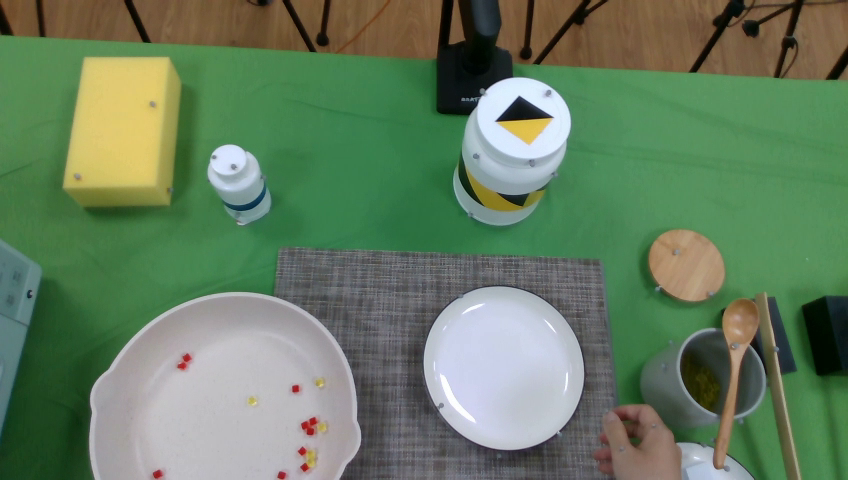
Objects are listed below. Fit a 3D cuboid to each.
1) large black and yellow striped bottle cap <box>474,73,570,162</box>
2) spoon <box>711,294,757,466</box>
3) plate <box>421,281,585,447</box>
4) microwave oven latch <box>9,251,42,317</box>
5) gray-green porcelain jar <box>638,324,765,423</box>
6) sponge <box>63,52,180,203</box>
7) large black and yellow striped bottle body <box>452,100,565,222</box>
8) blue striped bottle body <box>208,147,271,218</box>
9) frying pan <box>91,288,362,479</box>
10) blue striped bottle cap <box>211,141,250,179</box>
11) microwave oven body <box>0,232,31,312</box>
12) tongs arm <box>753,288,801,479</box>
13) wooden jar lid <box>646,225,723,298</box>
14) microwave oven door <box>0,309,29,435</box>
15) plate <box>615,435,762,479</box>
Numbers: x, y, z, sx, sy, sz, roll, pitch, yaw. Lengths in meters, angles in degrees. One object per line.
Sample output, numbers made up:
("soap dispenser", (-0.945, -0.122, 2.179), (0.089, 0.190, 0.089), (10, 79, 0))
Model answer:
("large black and yellow striped bottle cap", (0.118, -0.148, 0.727), (0.115, 0.019, 0.114), (2, 70, -4))
("spoon", (0.342, 0.153, 0.677), (0.041, 0.022, 0.193), (18, 72, -1))
("plate", (0.099, 0.156, 0.774), (0.209, 0.038, 0.207), (2, 69, -4))
("microwave oven latch", (-0.498, 0.053, 0.746), (0.030, 0.029, 0.078), (5, 69, -3))
("gray-green porcelain jar", (0.332, 0.169, 0.745), (0.106, 0.127, 0.105), (1, 69, -3))
("sponge", (-0.413, -0.157, 0.840), (0.118, 0.061, 0.205), (-2, 70, -6))
("large black and yellow striped bottle body", (0.111, -0.117, 0.805), (0.131, 0.185, 0.130), (2, 68, -4))
("blue striped bottle body", (-0.242, -0.080, 0.794), (0.063, 0.121, 0.062), (2, 68, -4))
("frying pan", (-0.244, 0.291, 0.658), (0.307, 0.103, 0.484), (13, 60, 1))
("blue striped bottle cap", (-0.239, -0.100, 0.747), (0.044, 0.021, 0.044), (2, 70, -4))
("microwave oven body", (-0.642, 0.176, 0.583), (0.326, 0.261, 0.438), (3, 69, -4))
("tongs arm", (0.463, 0.249, 0.744), (0.051, 0.026, 0.383), (-2, 80, -8))
("wooden jar lid", (0.366, 0.032, 0.858), (0.108, 0.021, 0.107), (1, 70, -4))
("microwave oven door", (-0.497, 0.220, 0.573), (0.039, 0.245, 0.353), (2, 69, -3))
("plate", (0.319, 0.343, 0.726), (0.208, 0.039, 0.206), (2, 69, -4))
